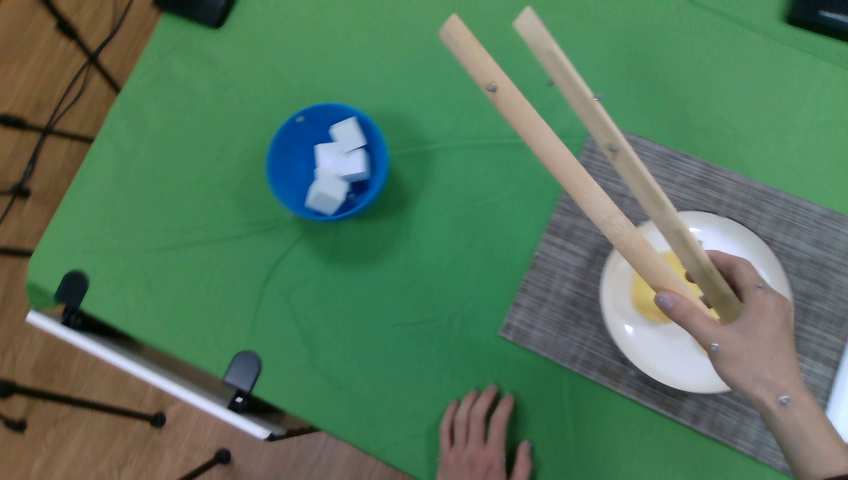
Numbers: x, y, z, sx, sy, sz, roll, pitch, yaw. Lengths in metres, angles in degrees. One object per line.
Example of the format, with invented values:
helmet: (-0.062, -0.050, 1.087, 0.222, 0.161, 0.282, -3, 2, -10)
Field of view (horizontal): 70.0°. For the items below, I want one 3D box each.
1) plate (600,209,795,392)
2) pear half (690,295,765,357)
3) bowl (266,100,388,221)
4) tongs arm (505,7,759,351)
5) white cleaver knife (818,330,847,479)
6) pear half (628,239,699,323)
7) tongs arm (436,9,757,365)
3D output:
plate: (0.307, 0.068, 0.694, 0.207, 0.039, 0.206, -2, 78, 7)
pear half: (0.345, 0.094, 0.678, 0.088, 0.031, 0.070, -33, 80, 5)
bowl: (-0.112, -0.089, 0.763, 0.151, 0.077, 0.150, -1, 78, 7)
tongs arm: (0.182, -0.062, 0.563, 0.026, 0.051, 0.383, -40, 81, 38)
white cleaver knife: (0.469, 0.196, 0.660, 0.065, 0.022, 0.285, 20, 78, 20)
pear half: (0.285, 0.038, 0.689, 0.076, 0.056, 0.109, 35, 81, 9)
tongs arm: (0.143, -0.041, 0.511, 0.387, 0.028, 0.028, 49, 125, 0)
